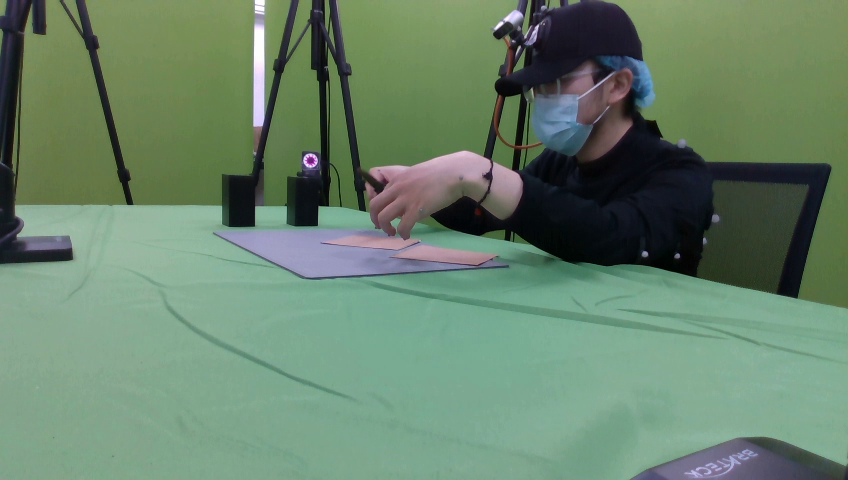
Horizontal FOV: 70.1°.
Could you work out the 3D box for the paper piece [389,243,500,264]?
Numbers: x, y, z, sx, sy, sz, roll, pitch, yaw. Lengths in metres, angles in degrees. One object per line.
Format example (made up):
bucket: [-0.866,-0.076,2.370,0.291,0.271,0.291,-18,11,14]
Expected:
paper piece: [0.034,0.021,0.905,0.138,0.008,0.136,5,10,20]

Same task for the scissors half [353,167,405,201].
scissors half: [-0.080,-0.105,1.089,0.013,0.040,0.176,47,12,26]

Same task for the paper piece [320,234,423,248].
paper piece: [-0.084,-0.001,1.017,0.135,0.004,0.136,4,8,17]

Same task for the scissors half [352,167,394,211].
scissors half: [-0.095,-0.092,1.090,0.040,0.012,0.176,-36,-26,-1]
